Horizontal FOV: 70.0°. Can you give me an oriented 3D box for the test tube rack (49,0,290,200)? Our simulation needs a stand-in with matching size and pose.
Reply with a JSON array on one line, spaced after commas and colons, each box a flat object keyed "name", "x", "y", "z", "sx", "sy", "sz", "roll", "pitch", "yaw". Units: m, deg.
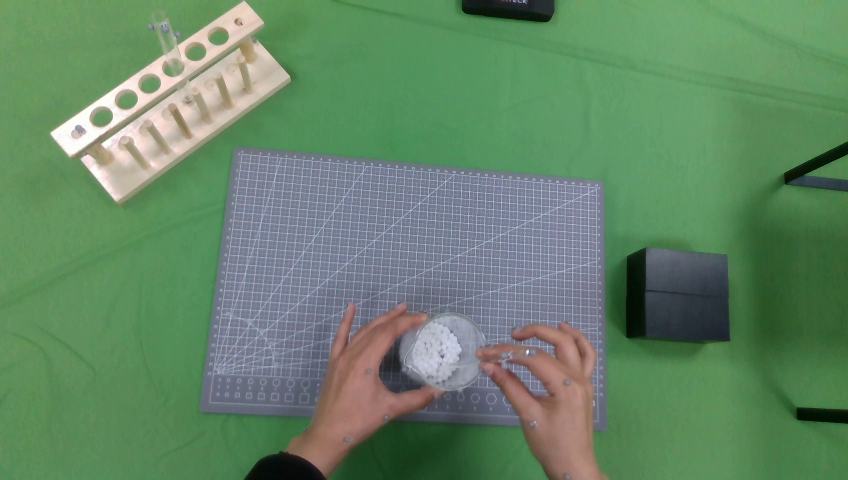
[{"name": "test tube rack", "x": -0.268, "y": -0.153, "z": 0.668, "sx": 0.242, "sy": 0.085, "sz": 0.066, "roll": -40, "pitch": 85, "yaw": -13}]

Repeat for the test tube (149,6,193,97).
[{"name": "test tube", "x": -0.258, "y": -0.189, "z": 0.626, "sx": 0.017, "sy": 0.150, "sz": 0.017, "roll": 3, "pitch": 74, "yaw": -10}]

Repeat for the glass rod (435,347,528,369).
[{"name": "glass rod", "x": 0.046, "y": 0.112, "z": 0.564, "sx": 0.008, "sy": 0.200, "sz": 0.008, "roll": 6, "pitch": 73, "yaw": -19}]

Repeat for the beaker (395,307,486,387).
[{"name": "beaker", "x": 0.009, "y": 0.111, "z": 0.617, "sx": 0.084, "sy": 0.100, "sz": 0.073, "roll": -11, "pitch": 81, "yaw": -15}]
